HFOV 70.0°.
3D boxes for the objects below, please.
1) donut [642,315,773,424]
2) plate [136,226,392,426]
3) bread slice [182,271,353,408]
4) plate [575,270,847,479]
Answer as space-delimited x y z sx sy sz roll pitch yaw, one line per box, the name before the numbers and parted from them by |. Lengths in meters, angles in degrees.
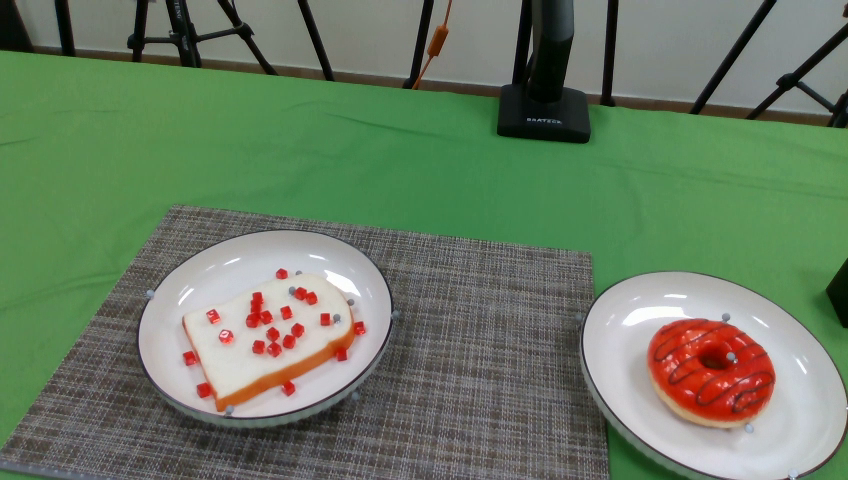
donut | 0.228 0.103 0.492 0.099 0.048 0.098 0 44 0
plate | -0.132 0.069 0.520 0.209 0.038 0.207 2 44 -1
bread slice | -0.130 0.073 0.519 0.132 0.019 0.103 -23 49 -24
plate | 0.227 0.111 0.501 0.208 0.039 0.205 2 43 -1
